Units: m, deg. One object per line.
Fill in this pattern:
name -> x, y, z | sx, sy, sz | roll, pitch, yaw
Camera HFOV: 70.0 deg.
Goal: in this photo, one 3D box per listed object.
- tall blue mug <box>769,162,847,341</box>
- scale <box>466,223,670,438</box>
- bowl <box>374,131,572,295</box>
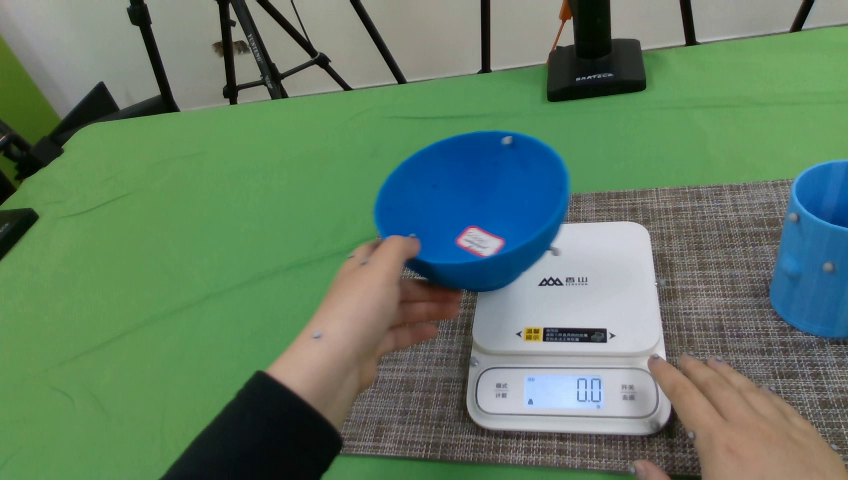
tall blue mug -> 0.309, 0.017, 0.426 | 0.078, 0.109, 0.106 | -37, 44, -22
scale -> 0.116, 0.065, 0.500 | 0.148, 0.032, 0.199 | -3, 44, 17
bowl -> 0.044, -0.009, 0.479 | 0.151, 0.077, 0.150 | -10, 44, 10
